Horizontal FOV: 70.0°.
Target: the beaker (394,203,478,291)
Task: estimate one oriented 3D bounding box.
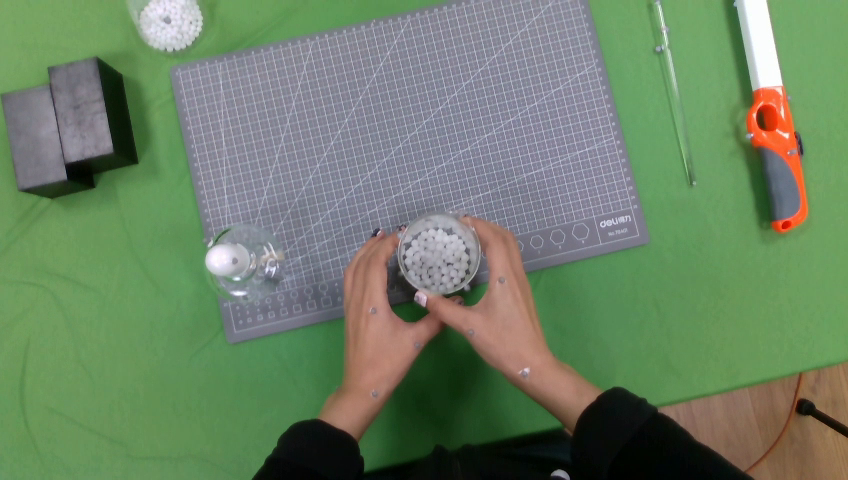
[{"bbox_3d":[0.012,0.008,0.579,0.074,0.100,0.084,31,85,2],"label":"beaker"}]

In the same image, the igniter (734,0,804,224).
[{"bbox_3d":[0.355,-0.154,0.630,0.057,0.025,0.276,-7,87,-11],"label":"igniter"}]

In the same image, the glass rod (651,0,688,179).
[{"bbox_3d":[0.260,-0.163,0.640,0.008,0.008,0.199,-9,89,-1],"label":"glass rod"}]

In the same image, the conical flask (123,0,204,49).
[{"bbox_3d":[-0.272,-0.244,0.591,0.075,0.122,0.075,0,86,1],"label":"conical flask"}]

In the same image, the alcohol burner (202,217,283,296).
[{"bbox_3d":[-0.178,0.015,0.577,0.078,0.119,0.077,0,86,3],"label":"alcohol burner"}]

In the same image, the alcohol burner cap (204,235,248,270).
[{"bbox_3d":[-0.179,0.011,0.541,0.034,0.048,0.034,0,89,-4],"label":"alcohol burner cap"}]
